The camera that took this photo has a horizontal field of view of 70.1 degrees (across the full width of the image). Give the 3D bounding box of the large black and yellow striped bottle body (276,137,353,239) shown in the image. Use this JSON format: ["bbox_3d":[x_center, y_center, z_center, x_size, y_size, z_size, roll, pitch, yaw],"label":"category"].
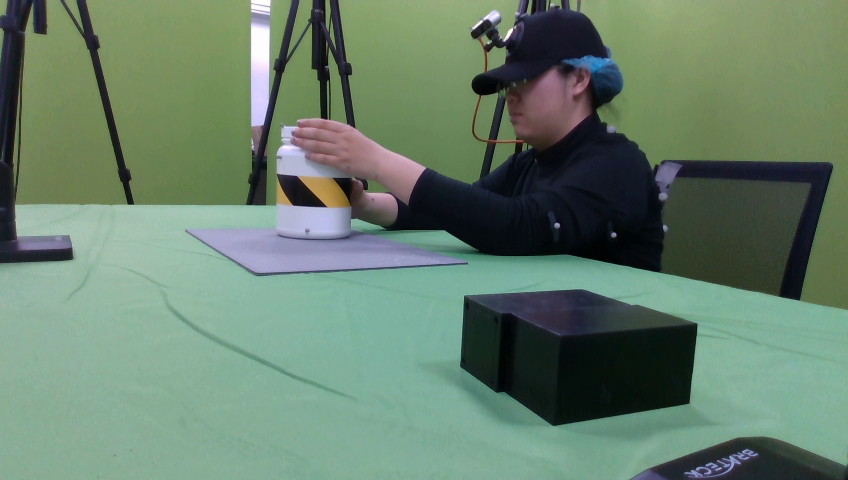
[{"bbox_3d":[-0.191,-0.099,1.055,0.131,0.184,0.130,3,7,0],"label":"large black and yellow striped bottle body"}]

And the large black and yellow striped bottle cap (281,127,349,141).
[{"bbox_3d":[-0.187,-0.183,1.045,0.115,0.019,0.115,3,9,0],"label":"large black and yellow striped bottle cap"}]
